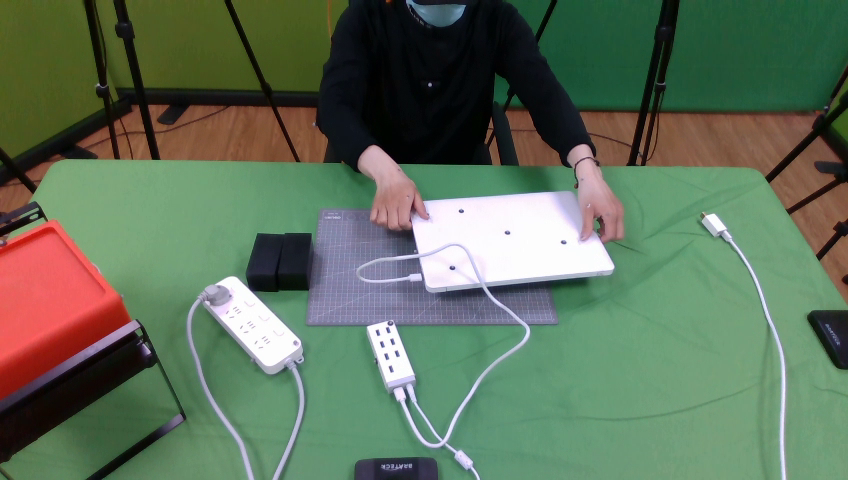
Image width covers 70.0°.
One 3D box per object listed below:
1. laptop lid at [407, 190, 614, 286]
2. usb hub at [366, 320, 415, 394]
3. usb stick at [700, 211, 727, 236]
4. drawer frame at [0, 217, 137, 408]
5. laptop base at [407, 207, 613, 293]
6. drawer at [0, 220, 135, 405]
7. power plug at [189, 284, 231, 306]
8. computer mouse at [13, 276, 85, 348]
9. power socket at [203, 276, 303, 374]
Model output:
[{"bbox_3d":[0.157,-0.012,1.154,0.357,0.013,0.240,-4,44,-8],"label":"laptop lid"},{"bbox_3d":[-0.056,0.192,1.009,0.049,0.025,0.124,-12,49,-16],"label":"usb hub"},{"bbox_3d":[0.606,-0.038,1.273,0.027,0.021,0.059,-18,56,-20],"label":"usb stick"},{"bbox_3d":[-0.523,0.094,0.779,0.200,0.083,0.213,37,55,26],"label":"drawer frame"},{"bbox_3d":[0.157,-0.002,1.162,0.355,0.023,0.234,-5,43,-9],"label":"laptop base"},{"bbox_3d":[-0.522,0.093,0.782,0.193,0.073,0.211,38,55,27],"label":"drawer"},{"bbox_3d":[-0.367,0.100,1.037,0.072,0.053,0.035,-23,53,-27],"label":"power plug"},{"bbox_3d":[-0.496,0.090,0.804,0.063,0.041,0.116,-7,42,-7],"label":"computer mouse"},{"bbox_3d":[-0.296,0.141,1.034,0.072,0.033,0.225,-35,58,-30],"label":"power socket"}]
